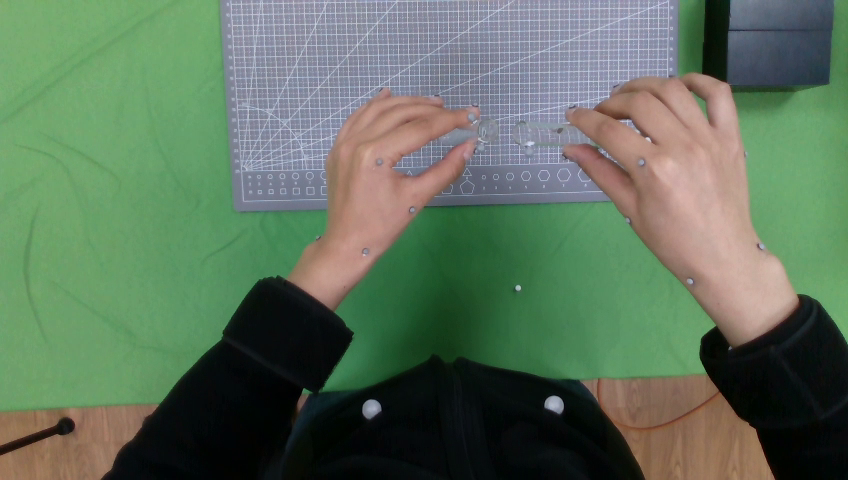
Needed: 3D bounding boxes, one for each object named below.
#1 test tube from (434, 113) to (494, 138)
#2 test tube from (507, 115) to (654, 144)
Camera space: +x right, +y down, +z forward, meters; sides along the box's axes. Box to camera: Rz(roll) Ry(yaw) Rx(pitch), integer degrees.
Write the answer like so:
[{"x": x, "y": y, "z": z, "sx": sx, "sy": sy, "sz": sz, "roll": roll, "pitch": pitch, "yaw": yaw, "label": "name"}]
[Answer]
[{"x": 0.028, "y": -0.088, "z": 0.471, "sx": 0.017, "sy": 0.149, "sz": 0.017, "roll": -2, "pitch": 99, "yaw": -9, "label": "test tube"}, {"x": 0.116, "y": -0.077, "z": 0.428, "sx": 0.151, "sy": 0.017, "sz": 0.017, "roll": -5, "pitch": 98, "yaw": -37, "label": "test tube"}]
